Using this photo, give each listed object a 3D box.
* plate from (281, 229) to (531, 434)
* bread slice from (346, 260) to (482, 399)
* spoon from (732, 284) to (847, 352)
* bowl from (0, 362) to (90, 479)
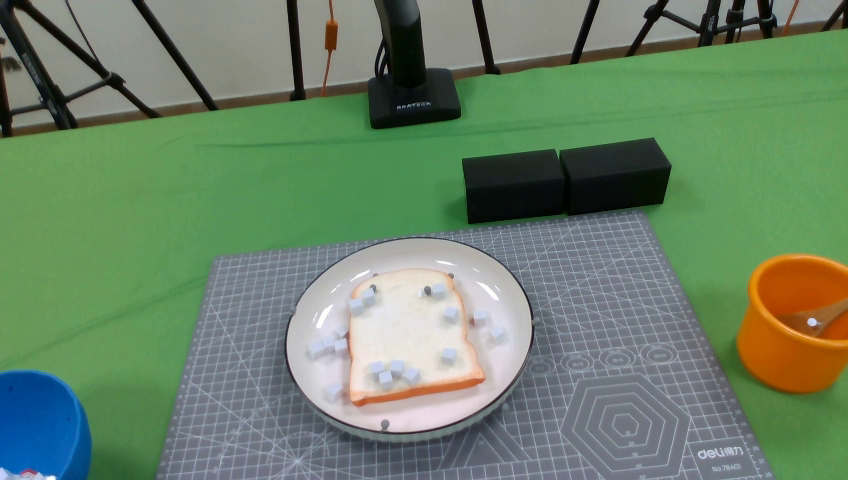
[{"bbox_3d":[-0.015,0.073,0.517,0.209,0.038,0.207,-4,45,4],"label":"plate"},{"bbox_3d":[-0.018,0.072,0.523,0.107,0.018,0.133,-12,46,-4],"label":"bread slice"},{"bbox_3d":[0.321,0.035,0.442,0.022,0.194,0.041,30,41,-27],"label":"spoon"},{"bbox_3d":[-0.304,0.170,0.429,0.151,0.077,0.150,-3,44,4],"label":"bowl"}]
